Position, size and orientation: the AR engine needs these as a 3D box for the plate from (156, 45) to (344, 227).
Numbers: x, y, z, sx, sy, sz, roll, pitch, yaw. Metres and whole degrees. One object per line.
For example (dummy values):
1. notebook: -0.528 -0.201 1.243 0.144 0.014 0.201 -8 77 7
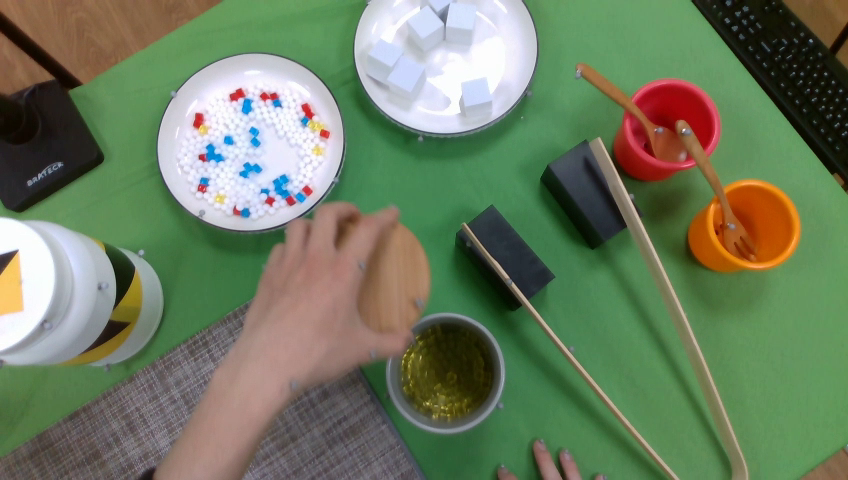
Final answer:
1. plate: -0.191 -0.114 0.679 0.209 0.038 0.208 0 81 2

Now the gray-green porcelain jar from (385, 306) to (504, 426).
1. gray-green porcelain jar: 0.020 0.121 0.589 0.106 0.127 0.105 0 80 2

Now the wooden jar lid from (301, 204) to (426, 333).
1. wooden jar lid: -0.049 0.024 0.511 0.108 0.021 0.108 -1 85 11

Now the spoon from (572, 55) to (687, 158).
1. spoon: 0.214 -0.137 0.617 0.195 0.021 0.041 27 76 -37

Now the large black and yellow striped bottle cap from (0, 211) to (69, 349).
1. large black and yellow striped bottle cap: -0.354 0.032 0.499 0.115 0.019 0.114 0 82 1

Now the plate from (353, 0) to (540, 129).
1. plate: 0.025 -0.222 0.691 0.207 0.039 0.207 0 81 2

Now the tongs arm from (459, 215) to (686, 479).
1. tongs arm: 0.172 0.114 0.604 0.051 0.026 0.385 -38 92 -7

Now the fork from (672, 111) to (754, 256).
1. fork: 0.288 -0.051 0.599 0.028 0.018 0.209 -42 126 3

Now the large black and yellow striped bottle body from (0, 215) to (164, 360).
1. large black and yellow striped bottle body: -0.352 0.049 0.582 0.131 0.184 0.130 0 80 2

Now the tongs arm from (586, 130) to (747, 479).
1. tongs arm: 0.243 0.069 0.611 0.028 0.028 0.387 -24 91 -10
